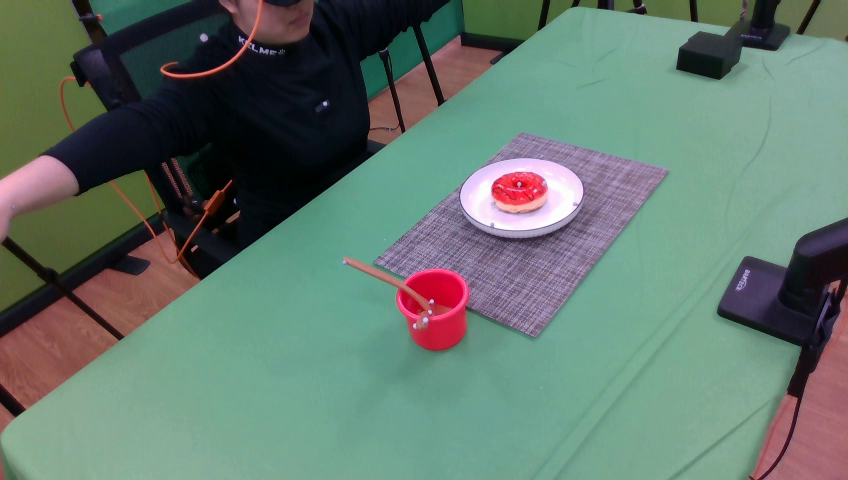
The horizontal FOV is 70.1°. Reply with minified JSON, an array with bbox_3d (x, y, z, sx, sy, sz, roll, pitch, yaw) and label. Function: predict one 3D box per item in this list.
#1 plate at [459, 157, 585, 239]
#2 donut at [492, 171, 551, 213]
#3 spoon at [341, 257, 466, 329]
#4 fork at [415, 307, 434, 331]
[{"bbox_3d":[0.163,-0.068,1.015,0.209,0.038,0.208,-5,40,5],"label":"plate"},{"bbox_3d":[0.163,-0.083,1.015,0.099,0.048,0.098,-6,37,5],"label":"donut"},{"bbox_3d":[-0.025,0.069,0.811,0.195,0.021,0.041,34,30,-18],"label":"spoon"},{"bbox_3d":[0.001,0.098,0.761,0.028,0.207,0.018,26,87,3],"label":"fork"}]
